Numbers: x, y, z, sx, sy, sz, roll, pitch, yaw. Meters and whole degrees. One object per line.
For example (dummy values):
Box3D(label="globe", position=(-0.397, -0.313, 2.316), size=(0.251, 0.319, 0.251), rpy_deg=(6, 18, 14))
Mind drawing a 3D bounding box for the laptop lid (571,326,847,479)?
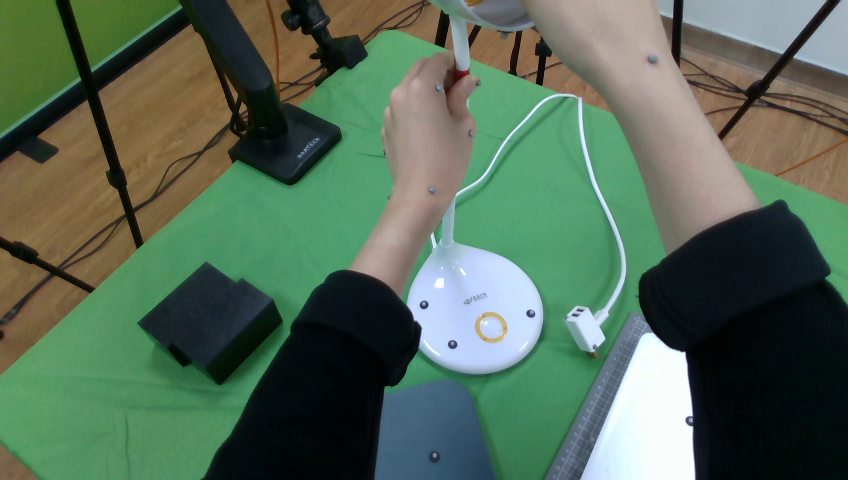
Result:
Box3D(label="laptop lid", position=(0.333, 0.246, 0.570), size=(0.354, 0.013, 0.241), rpy_deg=(26, 62, 18))

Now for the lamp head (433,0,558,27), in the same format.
Box3D(label="lamp head", position=(0.028, -0.200, 0.400), size=(0.112, 0.113, 0.121), rpy_deg=(-31, 30, -19))

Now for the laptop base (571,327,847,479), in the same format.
Box3D(label="laptop base", position=(0.335, 0.251, 0.581), size=(0.352, 0.023, 0.234), rpy_deg=(25, 63, 17))

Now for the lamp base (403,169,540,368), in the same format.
Box3D(label="lamp base", position=(0.045, 0.022, 0.650), size=(0.160, 0.182, 0.177), rpy_deg=(-30, 57, -19))

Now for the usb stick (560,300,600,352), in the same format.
Box3D(label="usb stick", position=(0.177, 0.098, 0.674), size=(0.027, 0.059, 0.021), rpy_deg=(-37, 19, -27))

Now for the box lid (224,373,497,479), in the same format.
Box3D(label="box lid", position=(-0.040, 0.312, 0.553), size=(0.263, 0.015, 0.367), rpy_deg=(-13, 57, -7))
